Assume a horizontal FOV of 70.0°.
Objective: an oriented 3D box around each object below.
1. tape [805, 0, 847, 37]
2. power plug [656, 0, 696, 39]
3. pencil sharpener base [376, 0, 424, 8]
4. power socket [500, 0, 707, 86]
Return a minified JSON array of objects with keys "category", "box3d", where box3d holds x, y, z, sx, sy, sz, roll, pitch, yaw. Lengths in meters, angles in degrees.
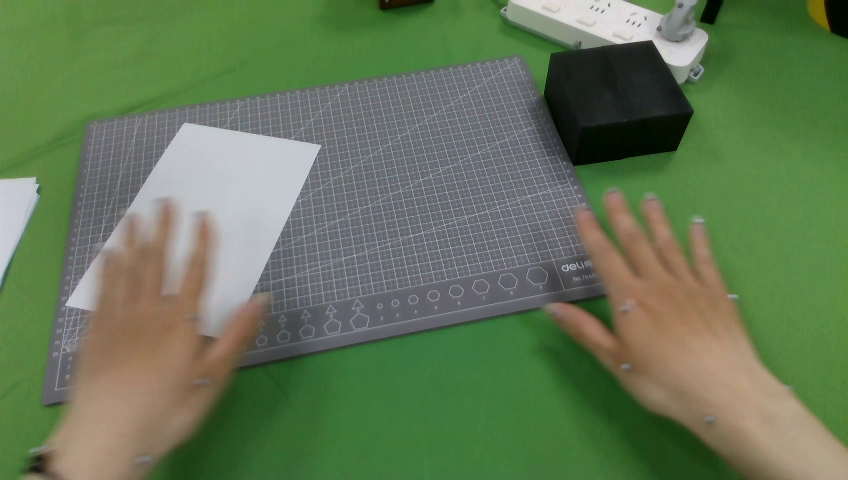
[{"category":"tape","box3d":[0.485,-0.272,0.657,0.117,0.053,0.116,-1,56,1]},{"category":"power plug","box3d":[0.266,-0.228,0.616,0.072,0.053,0.035,-39,63,-22]},{"category":"pencil sharpener base","box3d":[-0.031,-0.324,0.674,0.077,0.108,0.060,-13,56,-6]},{"category":"power socket","box3d":[0.190,-0.230,0.648,0.225,0.033,0.072,31,61,21]}]
